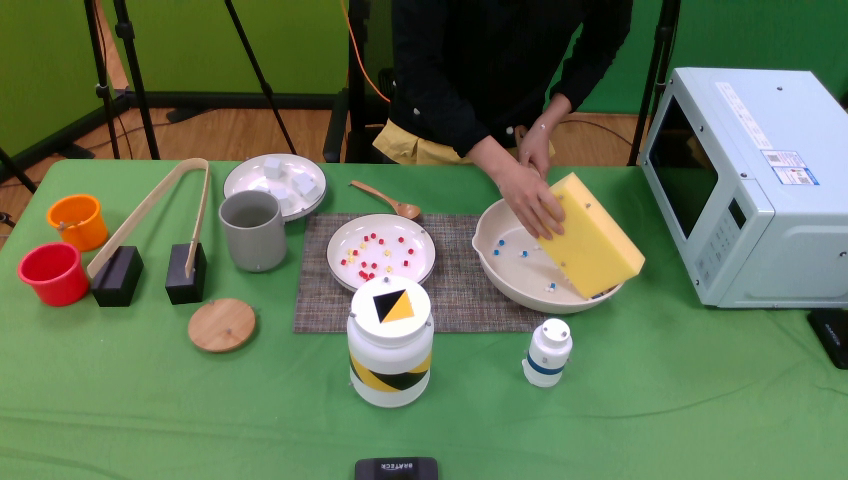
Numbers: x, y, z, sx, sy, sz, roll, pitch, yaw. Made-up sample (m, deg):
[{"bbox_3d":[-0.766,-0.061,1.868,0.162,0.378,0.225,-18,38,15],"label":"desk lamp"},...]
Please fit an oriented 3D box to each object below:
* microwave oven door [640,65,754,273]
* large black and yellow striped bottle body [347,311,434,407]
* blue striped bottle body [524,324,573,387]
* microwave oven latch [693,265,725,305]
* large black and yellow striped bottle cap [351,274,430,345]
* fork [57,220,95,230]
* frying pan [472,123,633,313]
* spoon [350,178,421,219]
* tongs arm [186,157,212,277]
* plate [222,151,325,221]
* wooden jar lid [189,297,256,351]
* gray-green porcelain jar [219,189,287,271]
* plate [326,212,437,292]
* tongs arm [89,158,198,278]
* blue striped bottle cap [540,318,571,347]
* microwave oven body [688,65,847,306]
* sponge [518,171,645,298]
[{"bbox_3d":[0.523,-0.147,1.193,0.039,0.245,0.353,0,47,-3],"label":"microwave oven door"},{"bbox_3d":[-0.052,0.157,0.929,0.131,0.185,0.130,2,47,-2],"label":"large black and yellow striped bottle body"},{"bbox_3d":[0.200,0.178,0.970,0.063,0.121,0.062,2,46,-2],"label":"blue striped bottle body"},{"bbox_3d":[0.523,0.082,1.116,0.030,0.029,0.078,2,46,-1],"label":"microwave oven latch"},{"bbox_3d":[-0.048,0.097,0.867,0.115,0.019,0.114,3,48,-3],"label":"large black and yellow striped bottle cap"},{"bbox_3d":[-0.624,-0.027,1.087,0.028,0.207,0.018,-3,92,-17],"label":"fork"},{"bbox_3d":[0.235,-0.060,1.207,0.307,0.103,0.484,1,55,-6],"label":"frying pan"},{"bbox_3d":[-0.084,-0.092,1.273,0.193,0.022,0.041,31,70,25],"label":"spoon"},{"bbox_3d":[-0.444,-0.058,1.168,0.051,0.026,0.382,-5,37,-5],"label":"tongs arm"},{"bbox_3d":[-0.310,-0.106,1.262,0.208,0.039,0.206,2,47,-2],"label":"plate"},{"bbox_3d":[-0.342,0.145,1.033,0.108,0.021,0.107,2,45,-2],"label":"wooden jar lid"},{"bbox_3d":[-0.309,-0.014,1.113,0.106,0.127,0.105,2,46,-2],"label":"gray-green porcelain jar"},{"bbox_3d":[-0.080,0.030,1.143,0.209,0.038,0.208,3,46,-3],"label":"plate"},{"bbox_3d":[-0.529,-0.057,1.164,0.028,0.028,0.385,1,36,8],"label":"tongs arm"},{"bbox_3d":[0.203,0.142,0.933,0.044,0.021,0.044,3,49,-3],"label":"blue striped bottle cap"},{"bbox_3d":[0.669,-0.111,1.176,0.326,0.261,0.439,0,46,-3],"label":"microwave oven body"},{"bbox_3d":[0.284,-0.008,1.095,0.207,0.118,0.061,49,41,-4],"label":"sponge"}]
